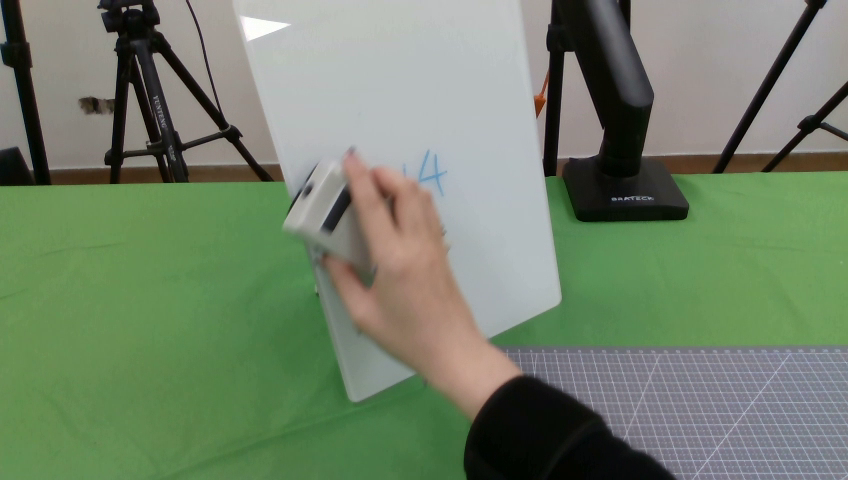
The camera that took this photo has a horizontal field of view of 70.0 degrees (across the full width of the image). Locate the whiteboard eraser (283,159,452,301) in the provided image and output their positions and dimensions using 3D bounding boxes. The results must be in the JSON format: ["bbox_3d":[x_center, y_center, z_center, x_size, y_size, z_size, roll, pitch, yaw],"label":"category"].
[{"bbox_3d":[-0.038,-0.005,0.424,0.041,0.114,0.055,13,73,60],"label":"whiteboard eraser"}]

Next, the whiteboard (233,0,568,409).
[{"bbox_3d":[-0.024,-0.058,0.519,0.217,0.307,0.142,-21,21,-23],"label":"whiteboard"}]
